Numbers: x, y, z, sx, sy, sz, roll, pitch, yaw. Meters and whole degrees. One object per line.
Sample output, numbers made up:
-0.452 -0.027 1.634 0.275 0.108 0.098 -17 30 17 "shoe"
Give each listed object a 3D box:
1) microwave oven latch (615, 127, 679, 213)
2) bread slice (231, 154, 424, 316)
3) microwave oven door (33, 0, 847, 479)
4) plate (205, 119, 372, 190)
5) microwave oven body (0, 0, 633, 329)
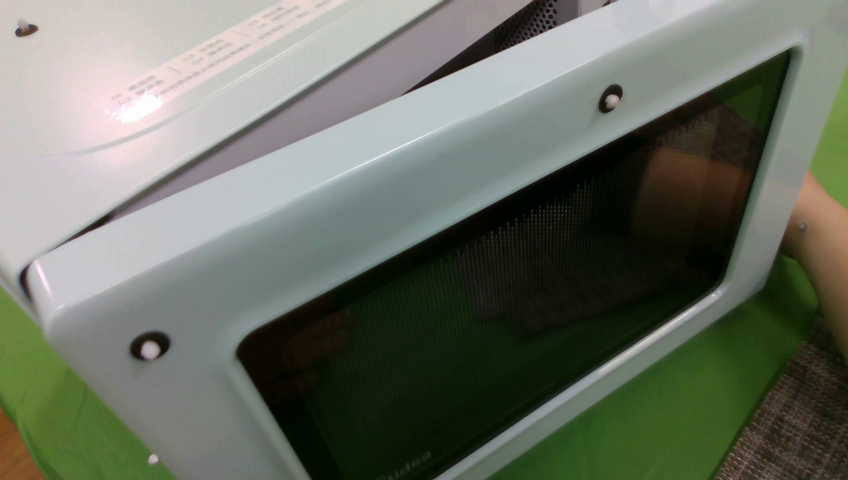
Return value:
0.185 -0.058 0.502 0.030 0.030 0.079 22 53 29 "microwave oven latch"
-0.068 -0.016 0.449 0.131 0.019 0.104 -39 52 -19 "bread slice"
0.061 0.020 0.295 0.356 0.246 0.039 -28 46 -18 "microwave oven door"
-0.066 -0.017 0.443 0.209 0.038 0.207 -6 43 6 "plate"
-0.056 -0.079 0.429 0.323 0.263 0.441 27 56 32 "microwave oven body"
